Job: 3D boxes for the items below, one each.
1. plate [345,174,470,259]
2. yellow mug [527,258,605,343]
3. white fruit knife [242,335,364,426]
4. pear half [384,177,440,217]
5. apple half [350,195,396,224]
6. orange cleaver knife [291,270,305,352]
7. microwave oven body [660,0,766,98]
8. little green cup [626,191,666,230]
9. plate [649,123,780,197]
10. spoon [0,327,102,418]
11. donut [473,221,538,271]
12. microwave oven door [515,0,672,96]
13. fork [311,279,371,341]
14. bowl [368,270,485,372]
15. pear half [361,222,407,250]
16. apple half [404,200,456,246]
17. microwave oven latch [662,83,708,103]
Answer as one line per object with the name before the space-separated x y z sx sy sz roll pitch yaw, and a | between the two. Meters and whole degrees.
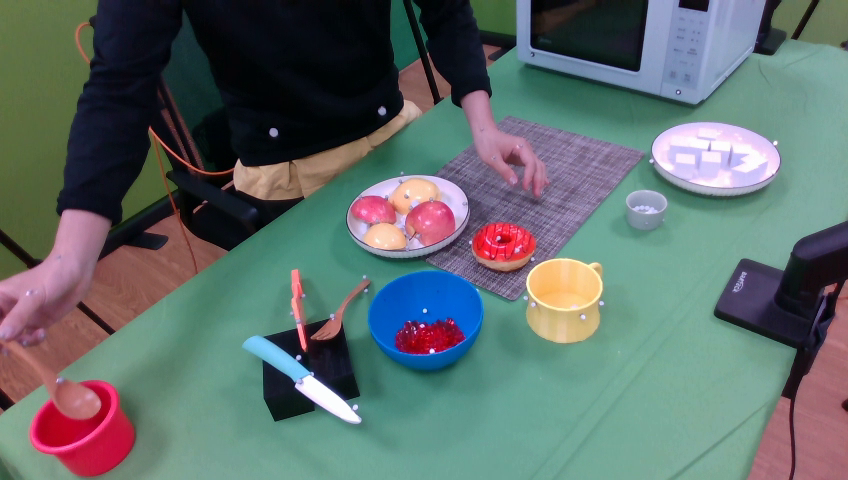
plate | -0.026 -0.036 1.004 0.209 0.038 0.208 -4 40 4
yellow mug | 0.202 0.073 0.824 0.131 0.064 0.099 -32 46 -27
white fruit knife | -0.148 0.166 0.730 0.206 0.016 0.027 26 79 31
pear half | -0.030 -0.079 1.033 0.109 0.056 0.076 0 36 14
apple half | -0.080 -0.056 1.008 0.081 0.033 0.081 11 24 -4
orange cleaver knife | -0.175 0.094 0.844 0.012 0.077 0.210 -11 14 -10
microwave oven body | 0.472 -0.513 1.317 0.438 0.261 0.327 26 51 34
little green cup | 0.352 -0.046 0.963 0.061 0.039 0.061 -4 40 4
plate | 0.497 -0.135 1.046 0.207 0.039 0.206 -4 40 4
spoon | -0.446 0.134 0.683 0.021 0.195 0.041 -26 23 28
donut | 0.124 0.008 0.923 0.099 0.048 0.098 -3 38 3
microwave oven door | 0.344 -0.454 1.259 0.353 0.245 0.039 26 51 33
fork | -0.108 0.092 0.832 0.028 0.019 0.207 -6 19 15
bowl | 0.007 0.118 0.791 0.151 0.077 0.150 -5 40 4
pear half | -0.063 -0.012 0.958 0.071 0.031 0.087 2 25 -25
apple half | 0.009 -0.035 0.969 0.075 0.053 0.080 -27 41 -22
microwave oven latch | 0.518 -0.296 1.204 0.078 0.029 0.030 27 52 35
